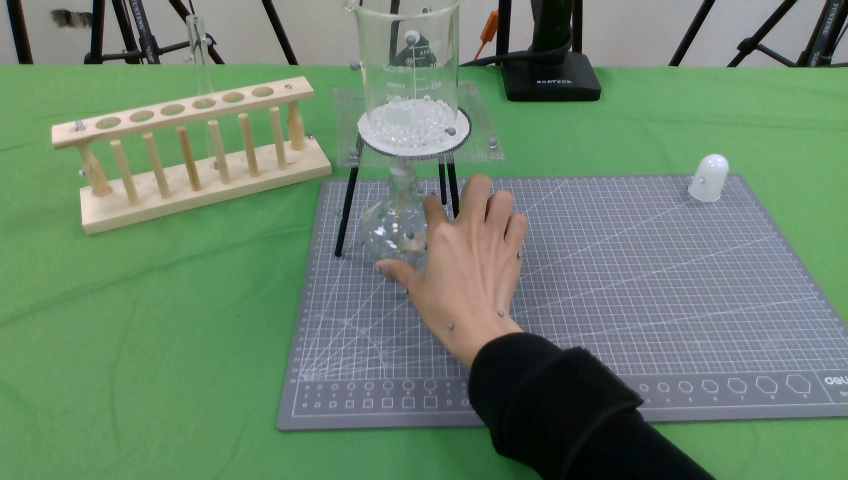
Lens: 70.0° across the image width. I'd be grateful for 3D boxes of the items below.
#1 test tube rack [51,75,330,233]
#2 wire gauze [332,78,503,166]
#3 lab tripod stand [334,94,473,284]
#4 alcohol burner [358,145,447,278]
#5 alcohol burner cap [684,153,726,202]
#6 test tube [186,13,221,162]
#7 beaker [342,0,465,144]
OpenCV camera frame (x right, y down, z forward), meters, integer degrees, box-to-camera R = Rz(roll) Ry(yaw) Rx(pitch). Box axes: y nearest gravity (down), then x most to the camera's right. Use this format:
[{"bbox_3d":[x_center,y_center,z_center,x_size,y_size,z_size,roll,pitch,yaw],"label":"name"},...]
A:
[{"bbox_3d":[-0.224,-0.091,0.609,0.243,0.086,0.066,-17,44,-19],"label":"test tube rack"},{"bbox_3d":[-0.010,-0.093,0.475,0.125,0.011,0.120,-6,40,-3],"label":"wire gauze"},{"bbox_3d":[-0.010,-0.044,0.518,0.148,0.132,0.147,0,44,1],"label":"lab tripod stand"},{"bbox_3d":[-0.018,-0.027,0.513,0.078,0.120,0.077,0,39,0],"label":"alcohol burner"},{"bbox_3d":[0.287,-0.067,0.615,0.034,0.048,0.033,0,42,0],"label":"alcohol burner cap"},{"bbox_3d":[-0.214,-0.144,0.594,0.017,0.151,0.017,3,36,-2],"label":"test tube"},{"bbox_3d":[-0.013,-0.128,0.439,0.084,0.101,0.073,1,41,2],"label":"beaker"}]
